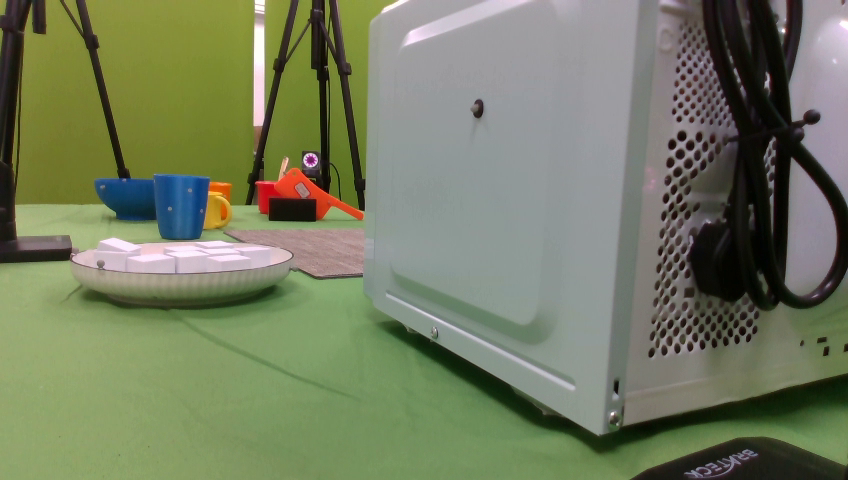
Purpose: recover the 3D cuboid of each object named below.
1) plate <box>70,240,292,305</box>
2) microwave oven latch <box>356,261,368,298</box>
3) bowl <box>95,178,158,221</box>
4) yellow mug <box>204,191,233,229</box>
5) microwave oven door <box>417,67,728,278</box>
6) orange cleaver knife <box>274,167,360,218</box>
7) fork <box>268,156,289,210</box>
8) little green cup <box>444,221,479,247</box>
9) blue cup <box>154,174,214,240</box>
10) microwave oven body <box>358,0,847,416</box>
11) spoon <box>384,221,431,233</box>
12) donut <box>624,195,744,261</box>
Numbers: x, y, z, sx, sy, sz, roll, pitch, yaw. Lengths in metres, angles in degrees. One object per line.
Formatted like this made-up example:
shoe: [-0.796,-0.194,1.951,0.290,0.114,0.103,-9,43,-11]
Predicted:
plate: [-0.242,0.031,0.618,0.208,0.039,0.207,2,8,0]
microwave oven latch: [-0.019,0.033,0.529,0.079,0.029,0.030,0,7,-25]
bowl: [-0.576,-0.081,1.217,0.151,0.077,0.151,3,8,0]
yellow mug: [-0.415,-0.057,1.132,0.130,0.064,0.100,6,8,16]
microwave oven door: [0.169,-0.089,0.748,0.355,0.243,0.039,4,8,16]
orange cleaver knife: [-0.238,-0.091,1.381,0.212,0.077,0.012,31,0,-19]
fork: [-0.360,-0.144,1.508,0.028,0.018,0.207,1,49,0]
little green cup: [0.064,-0.011,1.034,0.061,0.038,0.061,1,9,0]
blue cup: [-0.390,-0.053,0.978,0.093,0.100,0.092,4,6,0]
microwave oven body: [0.211,-0.047,0.474,0.444,0.260,0.324,-1,7,-28]
spoon: [-0.024,-0.029,1.188,0.041,0.021,0.194,-12,0,23]
donut: [0.221,-0.009,0.519,0.099,0.048,0.099,13,10,-2]
